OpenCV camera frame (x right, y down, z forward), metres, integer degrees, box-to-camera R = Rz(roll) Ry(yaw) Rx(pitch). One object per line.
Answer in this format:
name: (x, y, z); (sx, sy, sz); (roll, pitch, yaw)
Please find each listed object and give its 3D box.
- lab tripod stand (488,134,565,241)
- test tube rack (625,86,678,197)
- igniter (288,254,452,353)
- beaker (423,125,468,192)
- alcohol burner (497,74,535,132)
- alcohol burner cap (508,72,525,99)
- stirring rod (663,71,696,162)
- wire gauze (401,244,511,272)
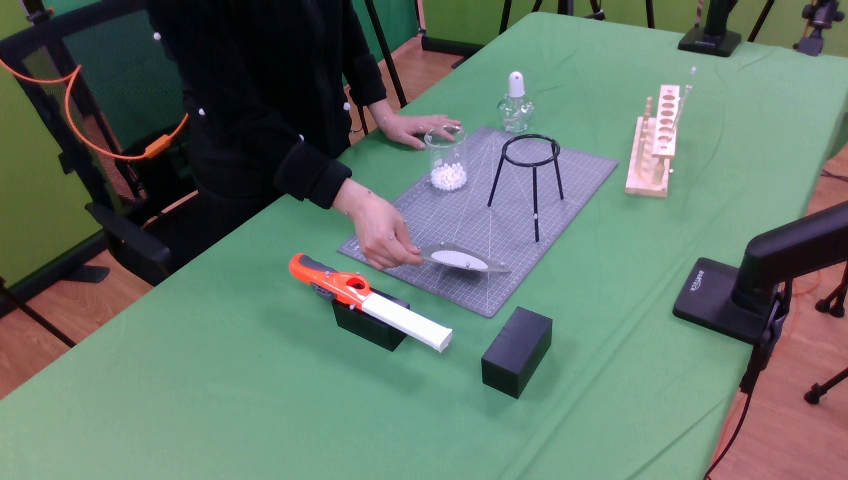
lab tripod stand: (0.168, -0.092, 0.972); (0.148, 0.132, 0.147); (-5, 41, 5)
test tube rack: (0.412, -0.184, 1.088); (0.066, 0.085, 0.242); (9, 43, 18)
igniter: (-0.083, 0.079, 0.818); (0.274, 0.025, 0.057); (23, 46, 27)
beaker: (0.043, -0.144, 1.078); (0.073, 0.100, 0.084); (28, 51, 34)
alcohol burner: (0.184, -0.278, 1.210); (0.078, 0.119, 0.077); (-3, 42, 3)
alcohol burner cap: (0.181, -0.306, 1.186); (0.034, 0.048, 0.033); (-7, 39, 6)
stirring rod: (0.411, -0.196, 0.981); (0.014, 0.177, 0.006); (11, 50, 13)
wire gauze: (0.050, 0.028, 0.897); (0.120, 0.011, 0.126); (20, 13, 35)
